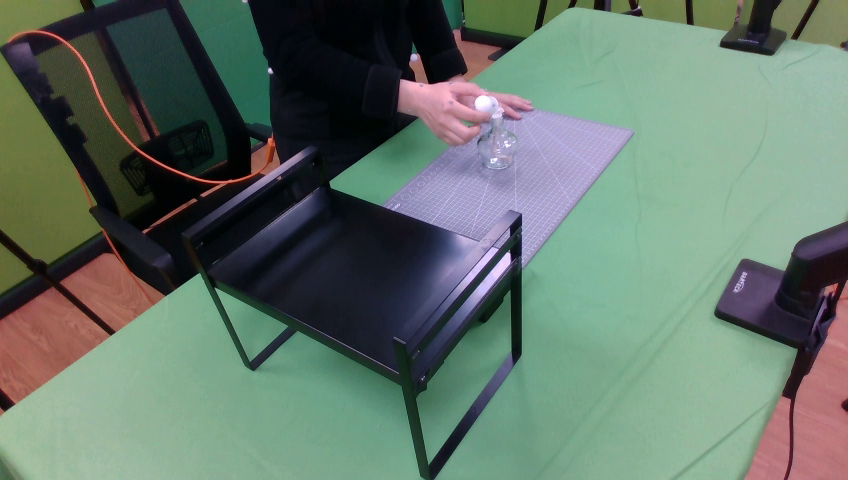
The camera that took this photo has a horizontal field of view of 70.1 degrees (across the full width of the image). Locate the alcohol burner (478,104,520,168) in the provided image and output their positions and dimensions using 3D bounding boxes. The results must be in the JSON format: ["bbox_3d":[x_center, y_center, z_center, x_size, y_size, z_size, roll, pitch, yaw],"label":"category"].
[{"bbox_3d":[0.136,-0.193,1.106,0.078,0.119,0.077,-5,39,4],"label":"alcohol burner"}]

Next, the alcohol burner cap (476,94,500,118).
[{"bbox_3d":[0.100,-0.217,0.974,0.033,0.034,0.048,12,1,22],"label":"alcohol burner cap"}]
